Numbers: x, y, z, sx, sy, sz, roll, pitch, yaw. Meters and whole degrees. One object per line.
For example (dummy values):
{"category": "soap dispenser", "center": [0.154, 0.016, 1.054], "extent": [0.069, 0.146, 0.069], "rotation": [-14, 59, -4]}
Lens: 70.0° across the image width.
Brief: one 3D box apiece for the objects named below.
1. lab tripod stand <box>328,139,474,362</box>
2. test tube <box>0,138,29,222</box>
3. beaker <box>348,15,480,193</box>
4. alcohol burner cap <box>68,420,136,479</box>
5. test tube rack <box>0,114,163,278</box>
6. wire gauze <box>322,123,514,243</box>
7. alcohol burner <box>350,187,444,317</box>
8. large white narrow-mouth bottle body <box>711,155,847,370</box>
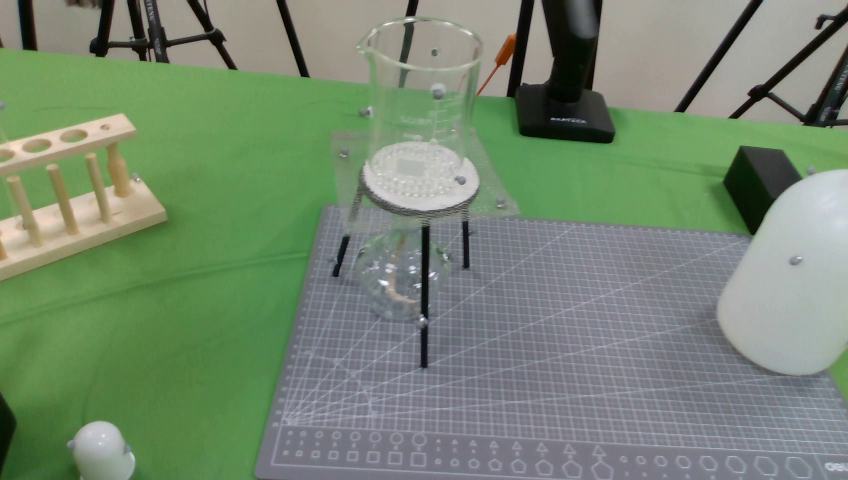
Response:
{"category": "lab tripod stand", "center": [-0.011, 0.001, 0.484], "extent": [0.148, 0.132, 0.147], "rotation": [5, 42, -4]}
{"category": "test tube", "center": [-0.354, -0.078, 0.496], "extent": [0.017, 0.151, 0.017], "rotation": [4, 37, -3]}
{"category": "beaker", "center": [-0.010, -0.089, 0.412], "extent": [0.084, 0.101, 0.073], "rotation": [-1, 43, -8]}
{"category": "alcohol burner cap", "center": [-0.205, 0.134, 0.382], "extent": [0.034, 0.048, 0.033], "rotation": [4, 41, -3]}
{"category": "test tube rack", "center": [-0.360, -0.023, 0.508], "extent": [0.243, 0.086, 0.066], "rotation": [-26, 51, -32]}
{"category": "wire gauze", "center": [-0.009, -0.050, 0.443], "extent": [0.122, 0.011, 0.123], "rotation": [-7, 46, -12]}
{"category": "alcohol burner", "center": [-0.020, 0.006, 0.492], "extent": [0.078, 0.120, 0.077], "rotation": [5, 40, -4]}
{"category": "large white narrow-mouth bottle body", "center": [0.307, 0.007, 0.471], "extent": [0.102, 0.196, 0.101], "rotation": [3, 41, -2]}
